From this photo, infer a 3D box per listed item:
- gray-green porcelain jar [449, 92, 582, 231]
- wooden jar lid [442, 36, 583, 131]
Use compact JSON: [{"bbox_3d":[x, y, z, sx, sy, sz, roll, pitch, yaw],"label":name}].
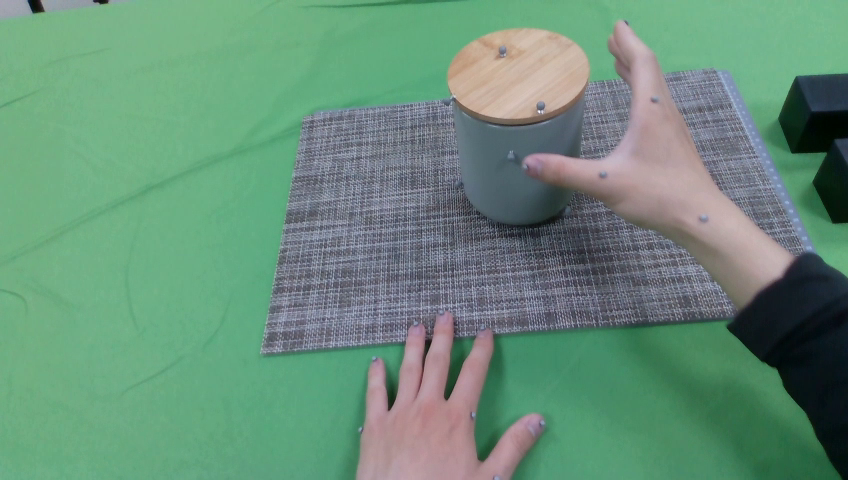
[{"bbox_3d":[0.078,-0.079,0.522,0.106,0.128,0.105,-4,51,6],"label":"gray-green porcelain jar"},{"bbox_3d":[0.069,-0.120,0.473,0.108,0.021,0.107,-4,54,6],"label":"wooden jar lid"}]
